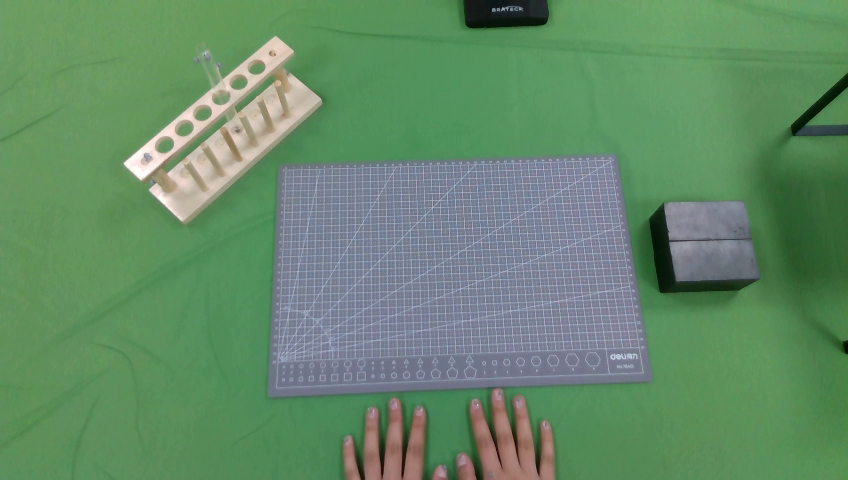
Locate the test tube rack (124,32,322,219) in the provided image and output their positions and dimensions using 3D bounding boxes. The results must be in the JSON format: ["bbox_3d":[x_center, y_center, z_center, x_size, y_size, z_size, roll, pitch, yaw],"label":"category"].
[{"bbox_3d":[-0.245,-0.144,0.767,0.066,0.085,0.242,41,75,13],"label":"test tube rack"}]

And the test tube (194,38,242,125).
[{"bbox_3d":[-0.245,-0.186,0.729,0.017,0.151,0.017,1,67,-1],"label":"test tube"}]
